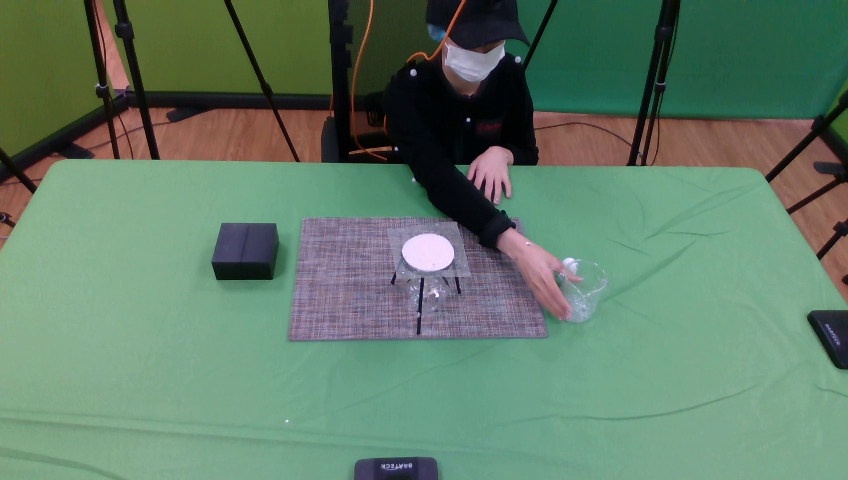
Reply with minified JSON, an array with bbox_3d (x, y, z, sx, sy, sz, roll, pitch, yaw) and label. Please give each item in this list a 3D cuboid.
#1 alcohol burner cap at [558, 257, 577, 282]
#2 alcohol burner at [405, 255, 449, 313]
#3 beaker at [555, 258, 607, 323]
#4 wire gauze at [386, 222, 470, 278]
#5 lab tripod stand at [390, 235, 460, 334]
[{"bbox_3d":[0.276,0.053,1.154,0.034,0.048,0.033,2,46,-1],"label":"alcohol burner cap"},{"bbox_3d":[0.006,0.071,1.060,0.078,0.120,0.077,1,45,-1],"label":"alcohol burner"},{"bbox_3d":[0.275,0.094,1.073,0.074,0.101,0.083,10,47,6],"label":"beaker"},{"bbox_3d":[0.004,0.017,1.005,0.125,0.011,0.120,-5,46,-8],"label":"wire gauze"},{"bbox_3d":[-0.002,0.067,1.050,0.148,0.132,0.147,1,47,-1],"label":"lab tripod stand"}]
